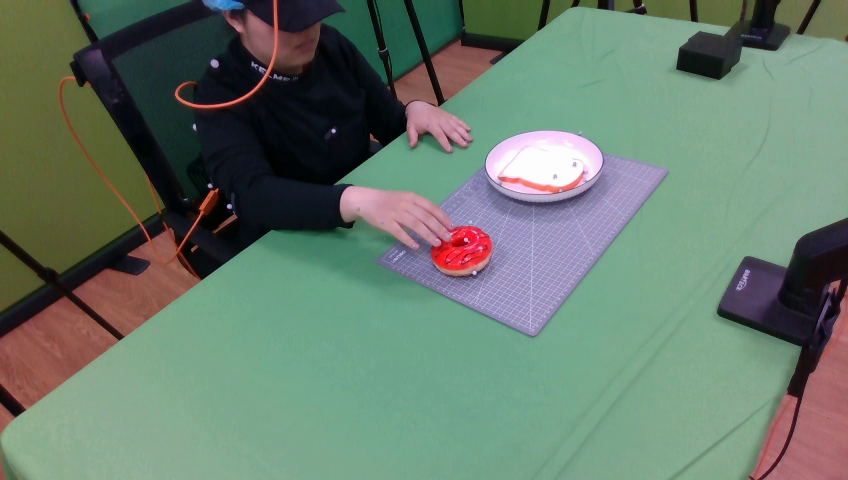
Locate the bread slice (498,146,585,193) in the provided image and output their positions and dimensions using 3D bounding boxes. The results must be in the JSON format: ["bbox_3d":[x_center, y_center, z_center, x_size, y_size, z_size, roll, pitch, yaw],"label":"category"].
[{"bbox_3d":[0.216,-0.125,1.076,0.133,0.018,0.107,16,47,28],"label":"bread slice"}]

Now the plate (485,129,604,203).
[{"bbox_3d":[0.213,-0.129,1.079,0.209,0.038,0.208,-5,40,5],"label":"plate"}]

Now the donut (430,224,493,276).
[{"bbox_3d":[0.058,0.014,0.934,0.099,0.048,0.098,-7,40,6],"label":"donut"}]
